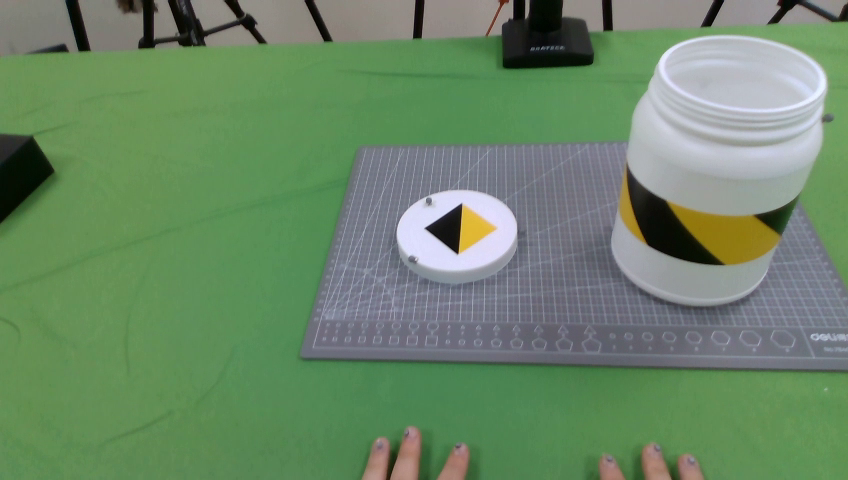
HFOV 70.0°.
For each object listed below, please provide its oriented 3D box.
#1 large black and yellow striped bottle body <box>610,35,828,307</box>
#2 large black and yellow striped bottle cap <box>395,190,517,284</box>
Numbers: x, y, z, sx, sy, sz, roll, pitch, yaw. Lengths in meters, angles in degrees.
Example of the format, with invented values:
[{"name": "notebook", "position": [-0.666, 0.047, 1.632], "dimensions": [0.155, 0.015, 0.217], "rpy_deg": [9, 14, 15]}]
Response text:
[{"name": "large black and yellow striped bottle body", "position": [0.224, -0.051, 0.479], "dimensions": [0.131, 0.186, 0.129], "rpy_deg": [-3, 44, 4]}, {"name": "large black and yellow striped bottle cap", "position": [0.030, -0.006, 0.575], "dimensions": [0.115, 0.019, 0.114], "rpy_deg": [-2, 45, 2]}]
